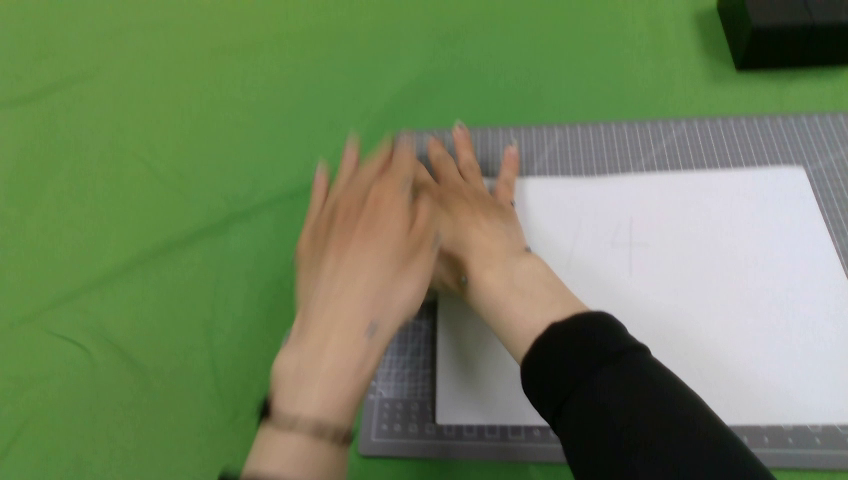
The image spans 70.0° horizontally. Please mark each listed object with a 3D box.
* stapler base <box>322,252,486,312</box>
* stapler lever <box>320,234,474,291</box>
[{"bbox_3d":[-0.018,0.028,0.473,0.130,0.025,0.041,-7,51,5],"label":"stapler base"},{"bbox_3d":[-0.021,0.017,0.458,0.118,0.040,0.026,-3,51,-1],"label":"stapler lever"}]
